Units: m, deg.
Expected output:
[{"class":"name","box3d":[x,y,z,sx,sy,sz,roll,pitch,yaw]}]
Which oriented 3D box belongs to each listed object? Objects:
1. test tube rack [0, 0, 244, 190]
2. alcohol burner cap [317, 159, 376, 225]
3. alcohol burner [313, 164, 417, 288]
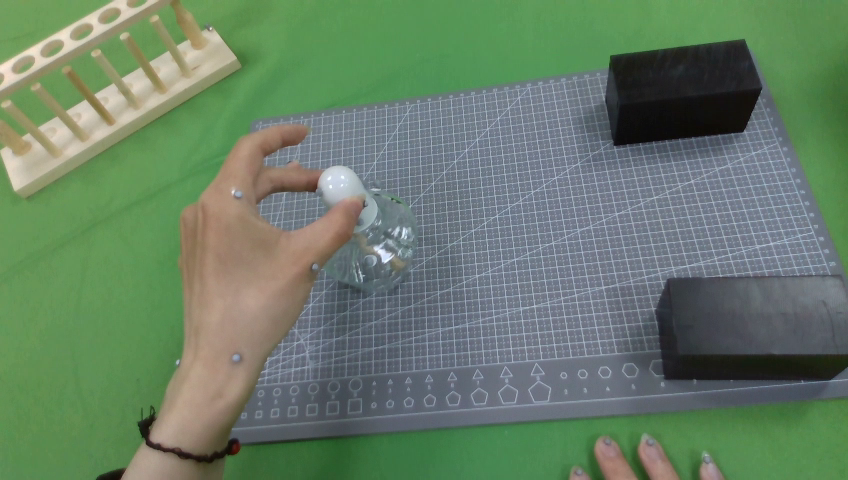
[{"class":"test tube rack","box3d":[-0.306,-0.156,0.574,0.242,0.086,0.066,-34,61,-9]},{"class":"alcohol burner cap","box3d":[-0.053,-0.034,0.398,0.034,0.048,0.033,-3,67,7]},{"class":"alcohol burner","box3d":[-0.046,-0.014,0.428,0.078,0.120,0.077,-5,59,9]}]
